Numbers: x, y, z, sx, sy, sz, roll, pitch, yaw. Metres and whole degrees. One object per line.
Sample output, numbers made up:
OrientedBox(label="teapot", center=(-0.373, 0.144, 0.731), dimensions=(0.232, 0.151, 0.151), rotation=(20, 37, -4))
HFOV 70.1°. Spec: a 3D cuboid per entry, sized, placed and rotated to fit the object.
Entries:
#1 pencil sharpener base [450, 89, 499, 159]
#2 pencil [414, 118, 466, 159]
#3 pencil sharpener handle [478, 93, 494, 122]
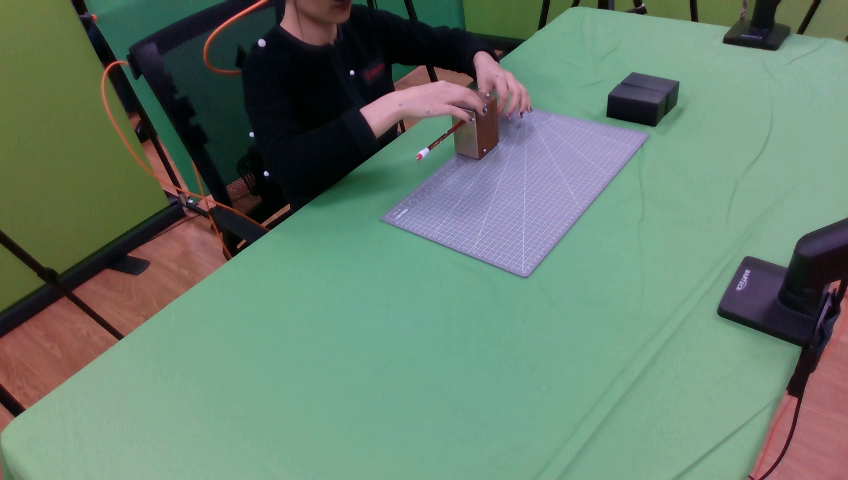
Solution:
OrientedBox(label="pencil sharpener base", center=(0.100, -0.222, 1.154), dimensions=(0.061, 0.107, 0.077), rotation=(22, 49, 33))
OrientedBox(label="pencil", center=(0.046, -0.196, 1.094), dimensions=(0.012, 0.012, 0.194), rotation=(23, 49, 32))
OrientedBox(label="pencil sharpener handle", center=(0.127, -0.262, 1.176), dimensions=(0.036, 0.068, 0.031), rotation=(31, 53, 22))
